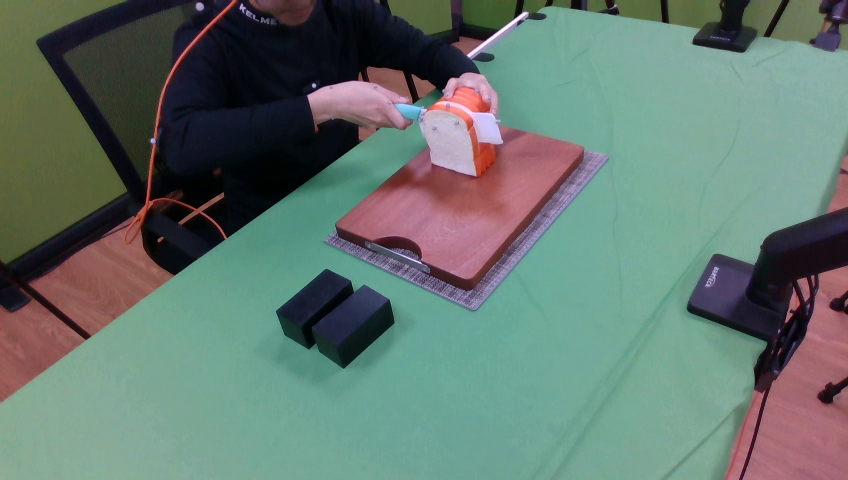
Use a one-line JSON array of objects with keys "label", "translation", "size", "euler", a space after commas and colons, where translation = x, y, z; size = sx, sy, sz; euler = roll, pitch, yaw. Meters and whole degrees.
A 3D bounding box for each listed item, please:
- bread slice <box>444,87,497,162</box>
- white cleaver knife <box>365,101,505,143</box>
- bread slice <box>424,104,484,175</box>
[{"label": "bread slice", "translation": [0.080, -0.204, 1.068], "size": [0.106, 0.135, 0.018], "euler": [23, 50, 28]}, {"label": "white cleaver knife", "translation": [0.010, -0.203, 1.049], "size": [0.284, 0.066, 0.021], "euler": [14, 45, 34]}, {"label": "bread slice", "translation": [0.046, -0.173, 1.037], "size": [0.104, 0.132, 0.019], "euler": [16, 51, 29]}]
